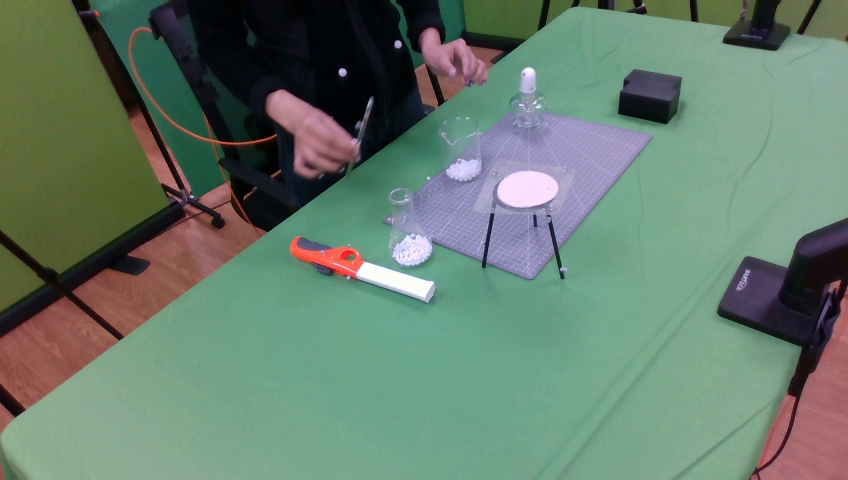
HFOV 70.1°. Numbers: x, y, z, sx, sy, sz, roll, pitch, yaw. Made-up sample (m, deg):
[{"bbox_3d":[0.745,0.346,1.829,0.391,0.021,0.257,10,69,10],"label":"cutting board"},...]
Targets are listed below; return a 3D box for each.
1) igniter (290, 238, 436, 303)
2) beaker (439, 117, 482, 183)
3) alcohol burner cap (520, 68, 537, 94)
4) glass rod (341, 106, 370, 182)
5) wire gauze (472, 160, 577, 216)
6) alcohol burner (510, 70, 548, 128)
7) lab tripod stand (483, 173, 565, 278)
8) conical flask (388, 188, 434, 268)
[{"bbox_3d":[-0.106,0.044,0.949,0.274,0.025,0.057,16,57,27],"label":"igniter"},{"bbox_3d":[0.068,-0.160,1.096,0.073,0.101,0.084,7,43,19],"label":"beaker"},{"bbox_3d":[0.205,-0.313,1.183,0.034,0.048,0.033,-3,50,4],"label":"alcohol burner cap"},{"bbox_3d":[-0.110,-0.147,0.953,0.008,0.199,0.008,9,61,-15],"label":"glass rod"},{"bbox_3d":[0.143,-0.073,0.850,0.121,0.011,0.125,8,43,22],"label":"wire gauze"},{"bbox_3d":[0.209,-0.287,1.208,0.078,0.119,0.077,-5,42,5],"label":"alcohol burner"},{"bbox_3d":[0.151,-0.025,0.896,0.148,0.132,0.147,-7,40,6],"label":"lab tripod stand"},{"bbox_3d":[-0.028,-0.021,0.937,0.075,0.122,0.075,-6,40,5],"label":"conical flask"}]
